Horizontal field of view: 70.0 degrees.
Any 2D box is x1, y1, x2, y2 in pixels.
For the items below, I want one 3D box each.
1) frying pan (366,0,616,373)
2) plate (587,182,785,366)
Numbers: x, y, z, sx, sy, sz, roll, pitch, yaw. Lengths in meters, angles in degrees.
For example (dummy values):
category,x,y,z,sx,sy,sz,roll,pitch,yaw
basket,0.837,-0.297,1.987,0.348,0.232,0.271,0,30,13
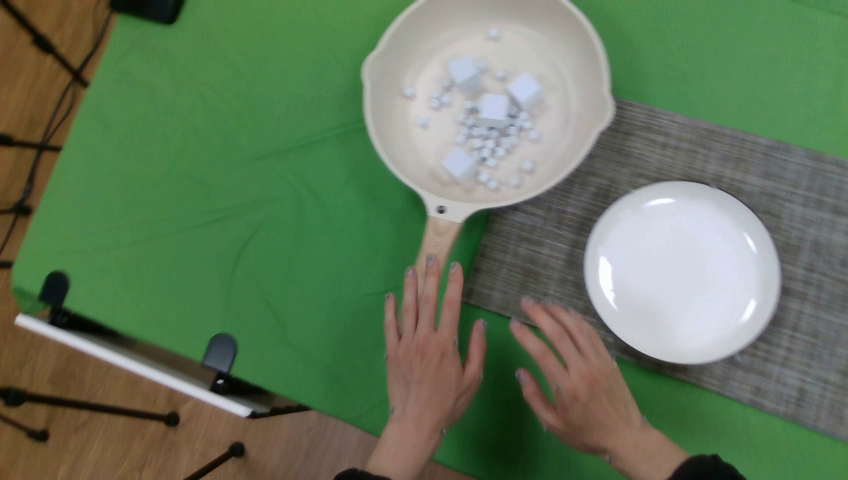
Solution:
category,x,y,z,sx,sy,sz,roll,pitch,yaw
frying pan,0.044,-0.079,0.721,0.305,0.103,0.486,16,74,15
plate,0.290,0.038,0.688,0.207,0.039,0.206,-2,79,10
